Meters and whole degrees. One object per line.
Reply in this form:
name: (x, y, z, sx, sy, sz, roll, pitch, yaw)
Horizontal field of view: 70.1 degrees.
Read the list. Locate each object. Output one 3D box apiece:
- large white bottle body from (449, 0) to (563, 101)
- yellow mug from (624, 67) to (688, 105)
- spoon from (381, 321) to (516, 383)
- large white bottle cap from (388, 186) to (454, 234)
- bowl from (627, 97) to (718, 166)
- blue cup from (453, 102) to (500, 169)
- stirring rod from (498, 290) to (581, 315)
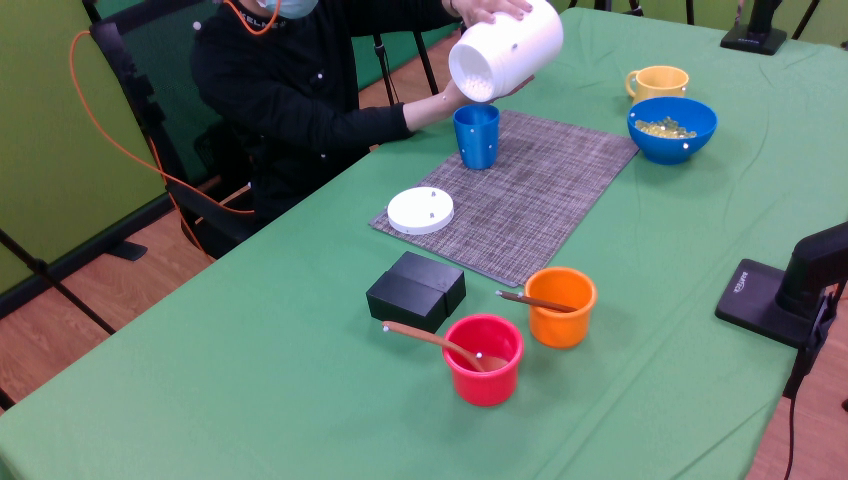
large white bottle body: (0.145, -0.339, 1.081, 0.129, 0.131, 0.185, 30, 57, 36)
yellow mug: (0.464, -0.306, 1.230, 0.100, 0.064, 0.129, -34, 46, -27)
spoon: (0.033, 0.131, 0.725, 0.195, 0.021, 0.041, 29, 30, -26)
large white bottle cap: (-0.006, -0.052, 1.036, 0.115, 0.018, 0.114, -4, 40, 4)
bowl: (0.439, -0.187, 1.087, 0.151, 0.077, 0.150, -4, 41, 4)
blue cup: (0.099, -0.188, 1.114, 0.092, 0.100, 0.092, -4, 39, 4)
stirring rod: (0.151, 0.081, 0.772, 0.178, 0.006, 0.014, 16, 19, -44)
